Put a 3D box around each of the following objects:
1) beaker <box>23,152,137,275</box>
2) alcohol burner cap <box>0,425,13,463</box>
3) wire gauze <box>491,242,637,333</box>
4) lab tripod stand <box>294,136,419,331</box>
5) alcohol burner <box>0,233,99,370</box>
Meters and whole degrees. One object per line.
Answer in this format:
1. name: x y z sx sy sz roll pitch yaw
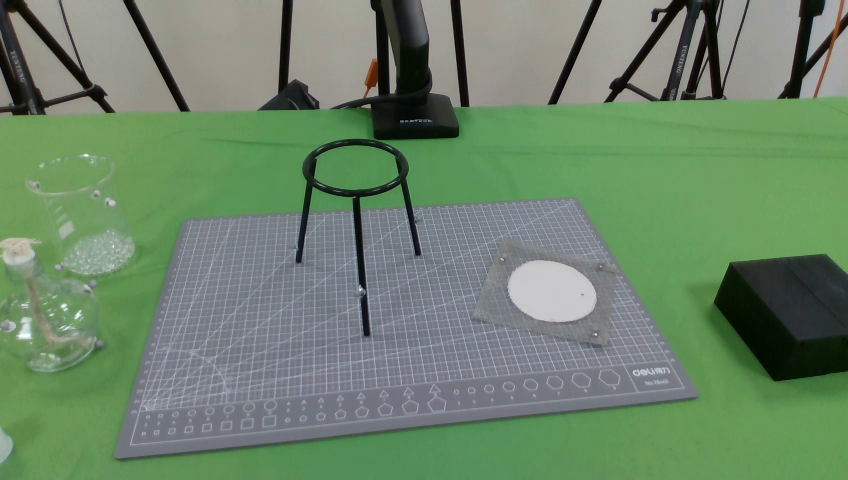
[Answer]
1. beaker: -0.322 -0.025 0.581 0.074 0.101 0.083 4 37 1
2. alcohol burner cap: -0.313 0.135 0.421 0.034 0.048 0.033 2 36 -1
3. wire gauze: 0.127 0.039 0.569 0.125 0.011 0.120 6 35 -6
4. lab tripod stand: -0.059 -0.014 0.548 0.148 0.132 0.147 3 38 -2
5. alcohol burner: -0.304 0.045 0.479 0.078 0.120 0.077 2 35 -1
